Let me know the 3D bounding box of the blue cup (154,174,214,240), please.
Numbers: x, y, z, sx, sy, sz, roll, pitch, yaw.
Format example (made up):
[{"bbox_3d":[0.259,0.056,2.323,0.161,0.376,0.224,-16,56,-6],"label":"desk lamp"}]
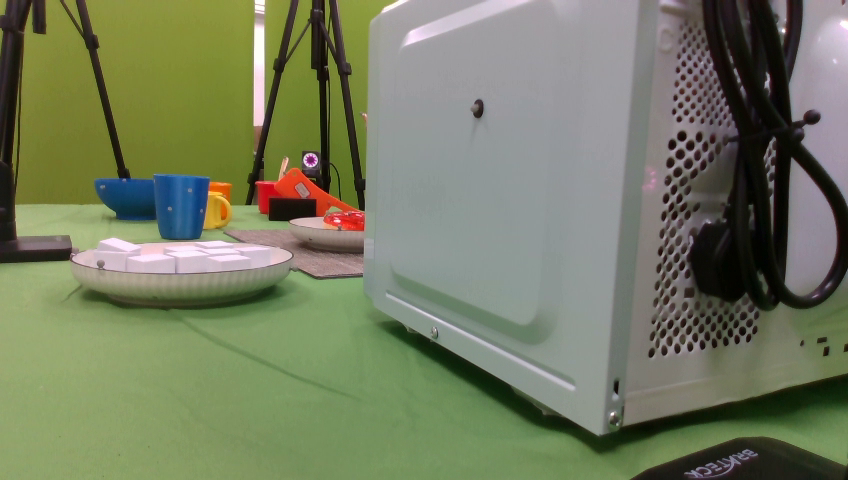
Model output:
[{"bbox_3d":[-0.390,-0.053,0.978,0.093,0.100,0.092,3,6,0],"label":"blue cup"}]

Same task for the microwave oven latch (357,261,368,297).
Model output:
[{"bbox_3d":[-0.019,0.033,0.531,0.079,0.029,0.030,-1,7,-27],"label":"microwave oven latch"}]

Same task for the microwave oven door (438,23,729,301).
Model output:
[{"bbox_3d":[0.181,-0.072,0.620,0.358,0.243,0.039,-2,8,-29],"label":"microwave oven door"}]

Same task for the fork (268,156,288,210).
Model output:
[{"bbox_3d":[-0.360,-0.144,1.508,0.028,0.018,0.207,2,49,0],"label":"fork"}]

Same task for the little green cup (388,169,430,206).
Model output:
[{"bbox_3d":[-0.021,-0.081,0.944,0.061,0.038,0.061,-19,-10,-3],"label":"little green cup"}]

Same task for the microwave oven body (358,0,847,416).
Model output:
[{"bbox_3d":[0.211,-0.047,0.474,0.444,0.260,0.324,-1,7,-28],"label":"microwave oven body"}]

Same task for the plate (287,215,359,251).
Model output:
[{"bbox_3d":[-0.111,-0.012,0.960,0.209,0.038,0.209,3,8,0],"label":"plate"}]

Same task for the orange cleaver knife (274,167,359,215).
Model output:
[{"bbox_3d":[-0.238,-0.090,1.381,0.212,0.077,0.012,31,0,-19],"label":"orange cleaver knife"}]

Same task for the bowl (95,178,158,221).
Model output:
[{"bbox_3d":[-0.576,-0.081,1.217,0.151,0.077,0.151,3,8,0],"label":"bowl"}]

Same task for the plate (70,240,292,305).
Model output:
[{"bbox_3d":[-0.242,0.031,0.618,0.208,0.039,0.207,2,8,0],"label":"plate"}]

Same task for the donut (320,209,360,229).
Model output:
[{"bbox_3d":[-0.115,-0.023,0.961,0.099,0.048,0.099,5,8,0],"label":"donut"}]

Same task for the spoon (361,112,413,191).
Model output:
[{"bbox_3d":[-0.065,-0.148,0.992,0.042,0.193,0.021,8,-43,-43],"label":"spoon"}]

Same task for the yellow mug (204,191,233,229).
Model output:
[{"bbox_3d":[-0.415,-0.057,1.132,0.130,0.064,0.100,6,8,16],"label":"yellow mug"}]
